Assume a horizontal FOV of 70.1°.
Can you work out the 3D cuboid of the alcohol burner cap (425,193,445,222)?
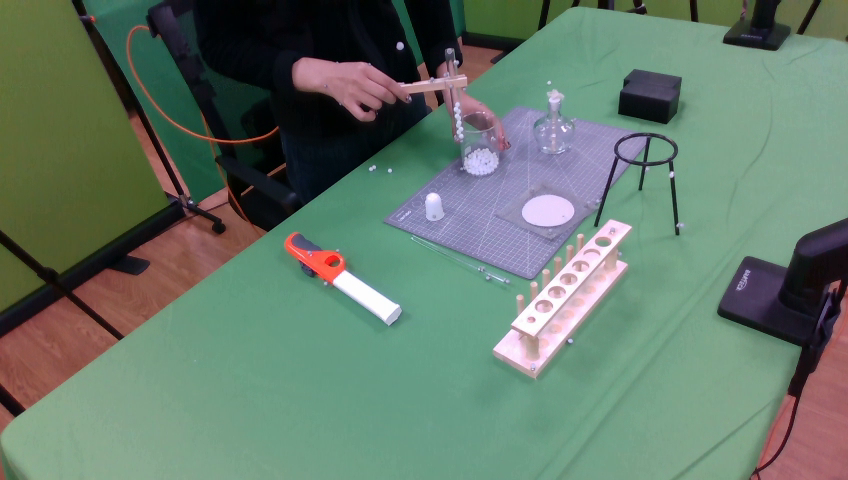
[{"bbox_3d":[0.017,-0.058,1.029,0.034,0.048,0.033,-6,40,5],"label":"alcohol burner cap"}]

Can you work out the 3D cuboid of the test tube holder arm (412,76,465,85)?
[{"bbox_3d":[0.025,-0.253,0.981,0.088,0.015,0.010,-12,26,-8],"label":"test tube holder arm"}]

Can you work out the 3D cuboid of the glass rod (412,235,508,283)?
[{"bbox_3d":[0.051,0.028,0.951,0.198,0.008,0.008,25,51,37],"label":"glass rod"}]

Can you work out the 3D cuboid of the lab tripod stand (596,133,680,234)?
[{"bbox_3d":[0.338,-0.091,0.940,0.148,0.132,0.147,-7,39,6],"label":"lab tripod stand"}]

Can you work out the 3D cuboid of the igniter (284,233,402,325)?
[{"bbox_3d":[-0.136,0.054,0.942,0.274,0.025,0.057,30,63,37],"label":"igniter"}]

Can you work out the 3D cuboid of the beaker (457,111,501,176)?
[{"bbox_3d":[0.105,-0.175,1.107,0.073,0.101,0.084,17,47,28],"label":"beaker"}]

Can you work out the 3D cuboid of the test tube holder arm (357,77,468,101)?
[{"bbox_3d":[-0.019,-0.243,0.972,0.179,0.015,0.013,-9,25,-2],"label":"test tube holder arm"}]

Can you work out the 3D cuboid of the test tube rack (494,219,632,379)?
[{"bbox_3d":[0.191,0.068,0.818,0.066,0.085,0.243,25,51,35],"label":"test tube rack"}]

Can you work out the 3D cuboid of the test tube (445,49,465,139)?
[{"bbox_3d":[0.052,-0.237,0.990,0.017,0.151,0.017,-7,30,5],"label":"test tube"}]

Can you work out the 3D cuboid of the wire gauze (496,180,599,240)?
[{"bbox_3d":[0.206,-0.050,1.012,0.125,0.011,0.120,-34,45,-26],"label":"wire gauze"}]

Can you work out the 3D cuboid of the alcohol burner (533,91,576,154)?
[{"bbox_3d":[0.243,-0.222,1.124,0.078,0.119,0.077,-4,39,4],"label":"alcohol burner"}]
